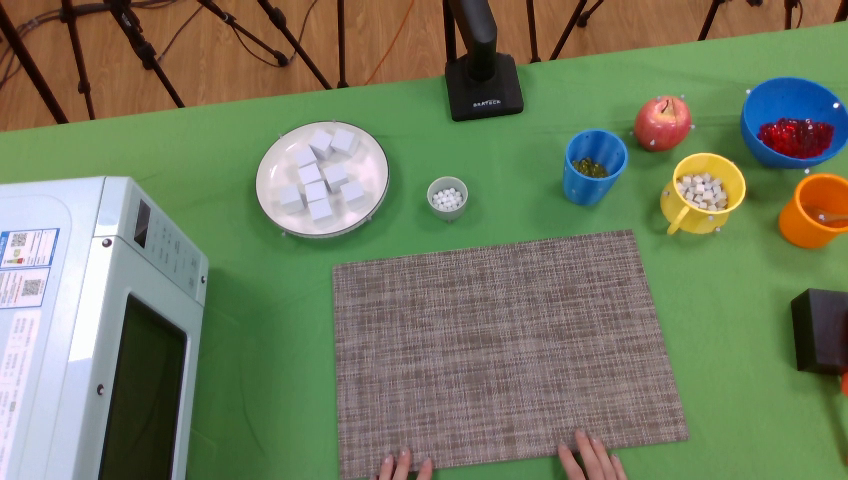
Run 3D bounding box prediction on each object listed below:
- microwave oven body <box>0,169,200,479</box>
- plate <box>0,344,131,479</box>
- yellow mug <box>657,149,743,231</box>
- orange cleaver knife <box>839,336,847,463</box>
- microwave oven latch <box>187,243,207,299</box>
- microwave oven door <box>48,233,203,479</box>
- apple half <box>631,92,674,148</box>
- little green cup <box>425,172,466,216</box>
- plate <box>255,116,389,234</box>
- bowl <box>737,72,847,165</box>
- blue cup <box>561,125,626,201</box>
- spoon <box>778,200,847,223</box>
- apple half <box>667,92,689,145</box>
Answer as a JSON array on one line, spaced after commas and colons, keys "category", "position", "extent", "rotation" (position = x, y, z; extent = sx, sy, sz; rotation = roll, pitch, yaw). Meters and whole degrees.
[{"category": "microwave oven body", "position": [-0.478, 0.175, 0.716], "extent": [0.326, 0.262, 0.438], "rotation": [-4, 66, 2]}, {"category": "plate", "position": [-0.461, 0.232, 0.745], "extent": [0.209, 0.038, 0.207], "rotation": [-1, 66, 2]}, {"category": "yellow mug", "position": [0.390, -0.063, 0.879], "extent": [0.099, 0.064, 0.130], "rotation": [39, 75, 19]}, {"category": "orange cleaver knife", "position": [0.540, 0.169, 0.755], "extent": [0.012, 0.077, 0.211], "rotation": [6, 96, 9]}, {"category": "microwave oven latch", "position": [-0.332, 0.045, 0.871], "extent": [0.030, 0.030, 0.078], "rotation": [-2, 66, 2]}, {"category": "microwave oven door", "position": [-0.331, 0.201, 0.689], "extent": [0.039, 0.246, 0.353], "rotation": [-4, 65, 2]}, {"category": "apple half", "position": [0.347, -0.183, 0.932], "extent": [0.053, 0.075, 0.080], "rotation": [-3, 69, 6]}, {"category": "little green cup", "position": [0.034, -0.067, 0.919], "extent": [0.061, 0.039, 0.061], "rotation": [-1, 65, 4]}, {"category": "plate", "position": [-0.156, -0.099, 0.946], "extent": [0.207, 0.039, 0.206], "rotation": [-1, 65, 3]}, {"category": "bowl", "position": [0.538, -0.168, 0.910], "extent": [0.151, 0.077, 0.150], "rotation": [-2, 66, 4]}, {"category": "blue cup", "position": [0.240, -0.105, 0.888], "extent": [0.092, 0.101, 0.092], "rotation": [-1, 67, 3]}, {"category": "spoon", "position": [0.572, -0.033, 0.808], "extent": [0.041, 0.192, 0.022], "rotation": [-46, 114, -16]}, {"category": "apple half", "position": [0.386, -0.185, 0.929], "extent": [0.033, 0.082, 0.080], "rotation": [-2, 65, 6]}]
